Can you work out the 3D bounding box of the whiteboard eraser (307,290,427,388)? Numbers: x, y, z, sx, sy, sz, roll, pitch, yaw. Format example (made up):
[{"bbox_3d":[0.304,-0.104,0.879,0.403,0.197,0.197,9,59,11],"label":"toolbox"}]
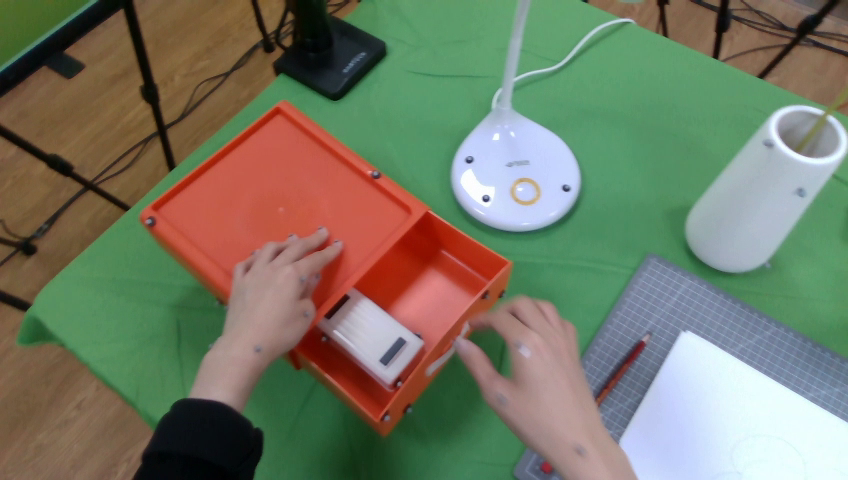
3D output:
[{"bbox_3d":[-0.056,0.093,0.586,0.112,0.042,0.055,28,55,24],"label":"whiteboard eraser"}]

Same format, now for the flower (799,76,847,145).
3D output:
[{"bbox_3d":[0.356,-0.100,0.560,0.038,0.364,0.044,20,45,5],"label":"flower"}]

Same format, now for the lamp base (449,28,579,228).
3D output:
[{"bbox_3d":[0.104,-0.132,0.688,0.161,0.182,0.177,-18,59,-9],"label":"lamp base"}]

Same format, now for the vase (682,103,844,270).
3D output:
[{"bbox_3d":[0.342,-0.049,0.626,0.098,0.201,0.097,-1,59,2],"label":"vase"}]

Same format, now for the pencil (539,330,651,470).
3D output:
[{"bbox_3d":[0.179,0.158,0.619,0.012,0.012,0.194,38,66,21],"label":"pencil"}]

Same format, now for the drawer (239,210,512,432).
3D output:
[{"bbox_3d":[-0.054,0.045,0.600,0.210,0.074,0.194,35,67,19],"label":"drawer"}]

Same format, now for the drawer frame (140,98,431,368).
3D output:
[{"bbox_3d":[-0.137,-0.012,0.631,0.212,0.083,0.201,37,68,15],"label":"drawer frame"}]
